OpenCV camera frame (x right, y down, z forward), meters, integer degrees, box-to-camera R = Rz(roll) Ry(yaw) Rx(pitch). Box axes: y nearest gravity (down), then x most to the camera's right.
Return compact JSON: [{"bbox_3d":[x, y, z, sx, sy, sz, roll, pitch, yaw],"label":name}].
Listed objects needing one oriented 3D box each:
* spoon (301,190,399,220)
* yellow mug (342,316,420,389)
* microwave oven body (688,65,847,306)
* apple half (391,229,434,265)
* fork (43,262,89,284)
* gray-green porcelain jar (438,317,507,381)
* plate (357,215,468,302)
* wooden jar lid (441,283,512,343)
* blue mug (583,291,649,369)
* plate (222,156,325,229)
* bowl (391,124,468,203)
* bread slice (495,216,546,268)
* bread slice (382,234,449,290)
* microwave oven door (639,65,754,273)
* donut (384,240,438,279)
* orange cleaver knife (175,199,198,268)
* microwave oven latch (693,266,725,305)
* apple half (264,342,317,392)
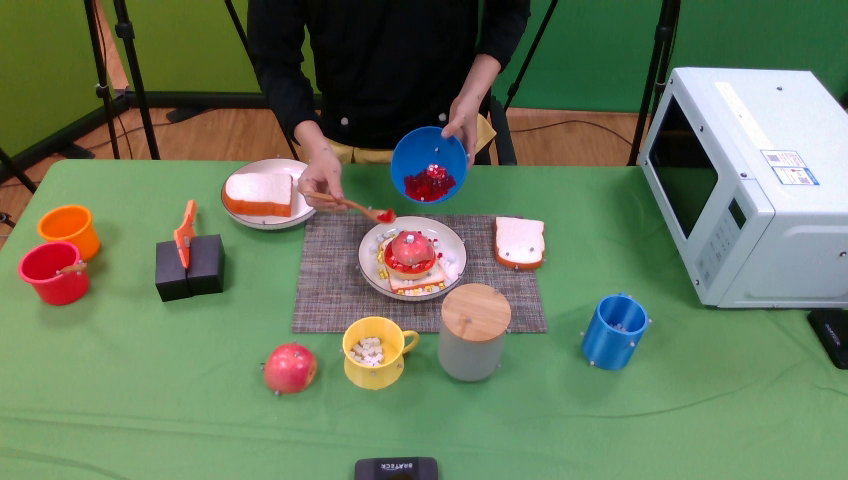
[{"bbox_3d":[-0.124,-0.063,1.035,0.195,0.021,0.041,16,28,-40],"label":"spoon"},{"bbox_3d":[-0.067,0.178,0.991,0.131,0.064,0.099,-16,49,-19],"label":"yellow mug"},{"bbox_3d":[0.669,-0.111,1.176,0.326,0.261,0.439,0,46,-3],"label":"microwave oven body"},{"bbox_3d":[-0.021,0.005,1.083,0.081,0.033,0.081,7,49,-7],"label":"apple half"},{"bbox_3d":[-0.599,0.053,1.013,0.207,0.019,0.028,-14,30,45],"label":"fork"},{"bbox_3d":[0.076,0.158,0.977,0.106,0.127,0.105,2,47,-2],"label":"gray-green porcelain jar"},{"bbox_3d":[-0.022,0.037,1.141,0.208,0.039,0.206,2,46,-2],"label":"plate"},{"bbox_3d":[0.080,0.114,0.931,0.108,0.021,0.107,1,49,0],"label":"wooden jar lid"},{"bbox_3d":[0.324,0.142,1.023,0.082,0.106,0.116,15,47,11],"label":"blue mug"},{"bbox_3d":[-0.308,-0.095,1.251,0.209,0.038,0.208,3,47,-2],"label":"plate"},{"bbox_3d":[0.018,-0.142,1.175,0.151,0.077,0.151,-1,85,13],"label":"bowl"},{"bbox_3d":[0.194,0.002,1.205,0.105,0.019,0.131,5,45,2],"label":"bread slice"},{"bbox_3d":[-0.026,0.037,1.138,0.107,0.018,0.133,-10,46,-17],"label":"bread slice"},{"bbox_3d":[0.522,-0.147,1.192,0.039,0.245,0.353,0,47,-3],"label":"microwave oven door"},{"bbox_3d":[-0.025,0.029,1.110,0.099,0.048,0.098,3,46,-3],"label":"donut"},{"bbox_3d":[-0.438,-0.017,1.138,0.012,0.077,0.210,-14,27,-6],"label":"orange cleaver knife"},{"bbox_3d":[0.523,0.082,1.115,0.030,0.029,0.078,3,46,0],"label":"microwave oven latch"},{"bbox_3d":[-0.214,0.198,0.970,0.074,0.053,0.080,19,48,10],"label":"apple half"}]
